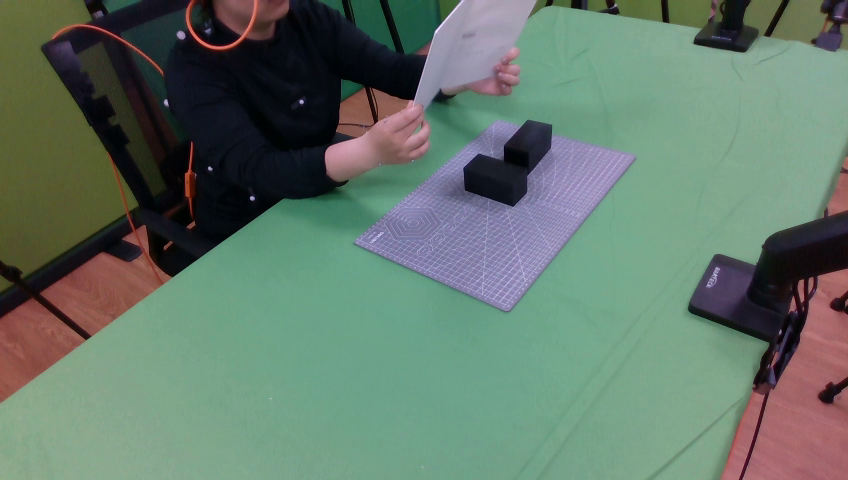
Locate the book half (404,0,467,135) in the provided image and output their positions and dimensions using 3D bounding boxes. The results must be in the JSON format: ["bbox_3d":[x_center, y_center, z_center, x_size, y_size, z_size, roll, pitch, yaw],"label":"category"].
[{"bbox_3d":[0.020,-0.279,0.964,0.007,0.210,0.143,28,54,2],"label":"book half"}]

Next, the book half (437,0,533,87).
[{"bbox_3d":[0.106,-0.355,1.039,0.149,0.210,0.016,-18,64,-26],"label":"book half"}]
